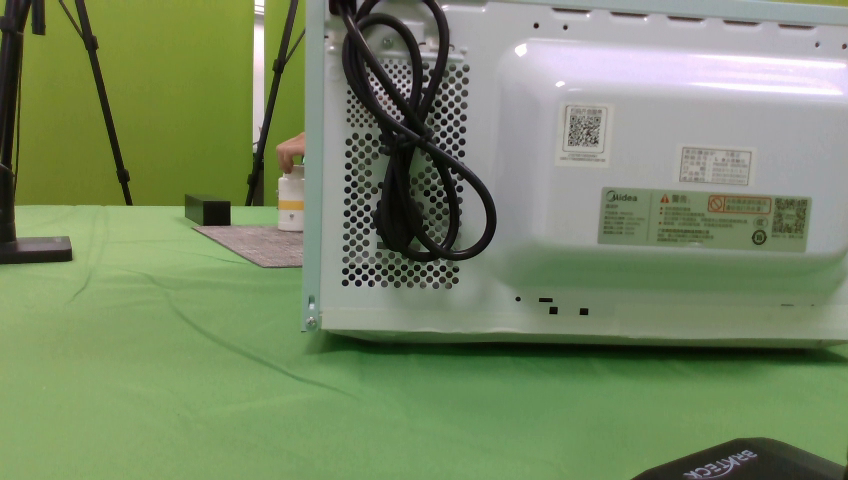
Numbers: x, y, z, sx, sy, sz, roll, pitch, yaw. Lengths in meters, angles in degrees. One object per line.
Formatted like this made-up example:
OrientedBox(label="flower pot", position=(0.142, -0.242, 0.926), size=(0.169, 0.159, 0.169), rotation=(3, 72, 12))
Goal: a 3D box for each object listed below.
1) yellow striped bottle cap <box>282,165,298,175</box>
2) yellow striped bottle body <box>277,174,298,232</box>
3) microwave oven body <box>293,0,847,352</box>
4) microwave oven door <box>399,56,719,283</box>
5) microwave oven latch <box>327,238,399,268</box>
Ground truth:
OrientedBox(label="yellow striped bottle cap", position=(-0.241, -0.129, 1.124), size=(0.044, 0.018, 0.044), rotation=(5, 7, 0))
OrientedBox(label="yellow striped bottle body", position=(-0.242, -0.078, 1.130), size=(0.063, 0.120, 0.063), rotation=(2, 7, 0))
OrientedBox(label="microwave oven body", position=(0.122, -0.055, 0.550), size=(0.442, 0.260, 0.325), rotation=(3, 7, -5))
OrientedBox(label="microwave oven door", position=(0.154, -0.078, 0.698), size=(0.356, 0.243, 0.039), rotation=(2, 8, -5))
OrientedBox(label="microwave oven latch", position=(-0.069, 0.015, 0.694), size=(0.079, 0.029, 0.030), rotation=(3, 7, -3))
